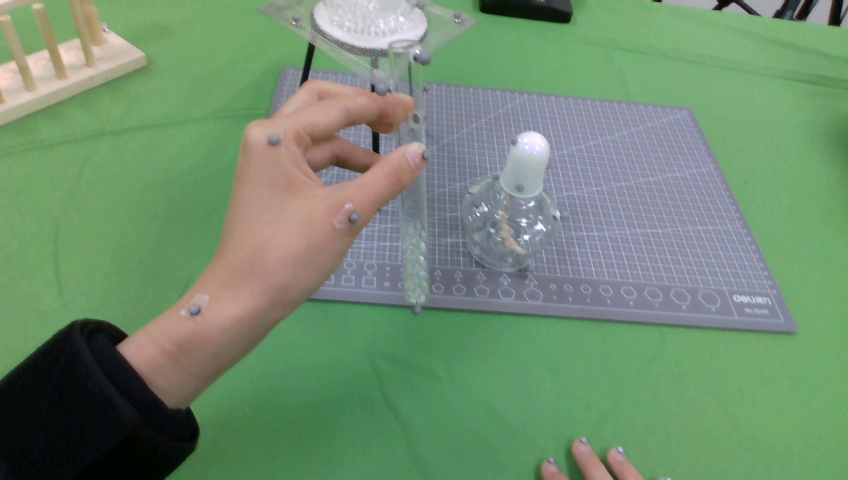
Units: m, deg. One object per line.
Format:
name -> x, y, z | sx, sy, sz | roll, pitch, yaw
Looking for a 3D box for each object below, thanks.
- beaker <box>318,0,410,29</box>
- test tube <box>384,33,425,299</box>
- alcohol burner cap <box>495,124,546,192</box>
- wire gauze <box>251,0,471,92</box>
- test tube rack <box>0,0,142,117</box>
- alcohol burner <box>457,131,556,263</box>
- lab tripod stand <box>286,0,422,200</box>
beaker -> -0.043, -0.209, 0.426 | 0.084, 0.101, 0.073 | -33, 62, -30
test tube -> -0.009, -0.030, 0.317 | 0.017, 0.151, 0.017 | -1, 33, 1
alcohol burner cap -> 0.070, -0.060, 0.433 | 0.034, 0.048, 0.033 | 3, 53, -3
wire gauze -> -0.045, -0.172, 0.460 | 0.124, 0.011, 0.121 | 37, 56, 17
test tube rack -> -0.379, -0.162, 0.519 | 0.066, 0.086, 0.242 | 35, 52, 20
alcohol burner -> 0.066, -0.038, 0.461 | 0.078, 0.120, 0.077 | 6, 48, -6
lab tripod stand -> -0.051, -0.129, 0.508 | 0.149, 0.132, 0.147 | 6, 49, -6
